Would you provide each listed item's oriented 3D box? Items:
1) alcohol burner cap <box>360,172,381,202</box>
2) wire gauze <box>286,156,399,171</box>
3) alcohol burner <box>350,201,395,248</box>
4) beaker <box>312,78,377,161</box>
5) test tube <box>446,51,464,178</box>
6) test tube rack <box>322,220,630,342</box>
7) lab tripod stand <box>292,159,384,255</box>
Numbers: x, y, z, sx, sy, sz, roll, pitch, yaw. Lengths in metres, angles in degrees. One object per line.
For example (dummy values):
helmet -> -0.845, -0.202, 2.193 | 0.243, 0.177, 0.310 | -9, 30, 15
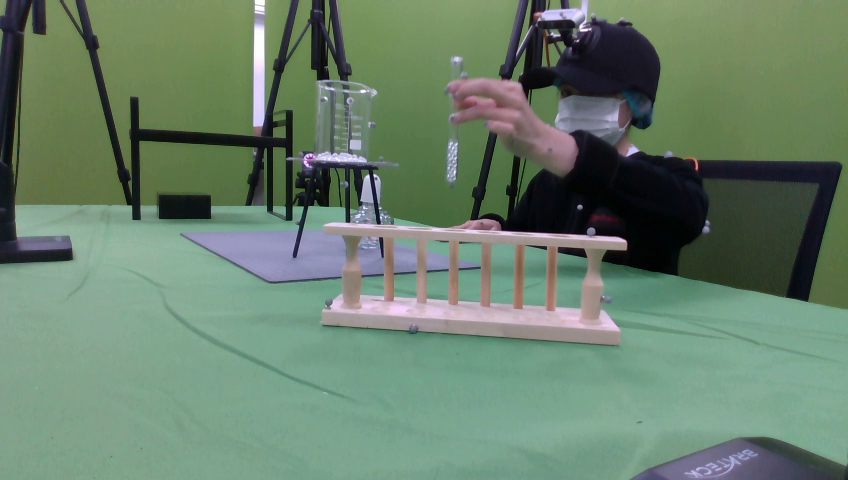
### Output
alcohol burner cap -> -0.081, -0.084, 0.949 | 0.034, 0.048, 0.034 | 7, 7, -1
wire gauze -> -0.101, -0.103, 0.788 | 0.121, 0.011, 0.125 | 5, 4, 6
alcohol burner -> -0.084, -0.048, 0.953 | 0.078, 0.119, 0.078 | 1, 6, 0
beaker -> -0.103, -0.151, 0.775 | 0.084, 0.100, 0.074 | 5, 7, 14
test tube -> 0.037, -0.148, 0.723 | 0.017, 0.150, 0.017 | 1, 18, 0
test tube rack -> 0.041, 0.029, 0.512 | 0.242, 0.085, 0.067 | 3, 7, 5
lab tripod stand -> -0.105, -0.039, 0.797 | 0.148, 0.131, 0.148 | 2, 5, 0
